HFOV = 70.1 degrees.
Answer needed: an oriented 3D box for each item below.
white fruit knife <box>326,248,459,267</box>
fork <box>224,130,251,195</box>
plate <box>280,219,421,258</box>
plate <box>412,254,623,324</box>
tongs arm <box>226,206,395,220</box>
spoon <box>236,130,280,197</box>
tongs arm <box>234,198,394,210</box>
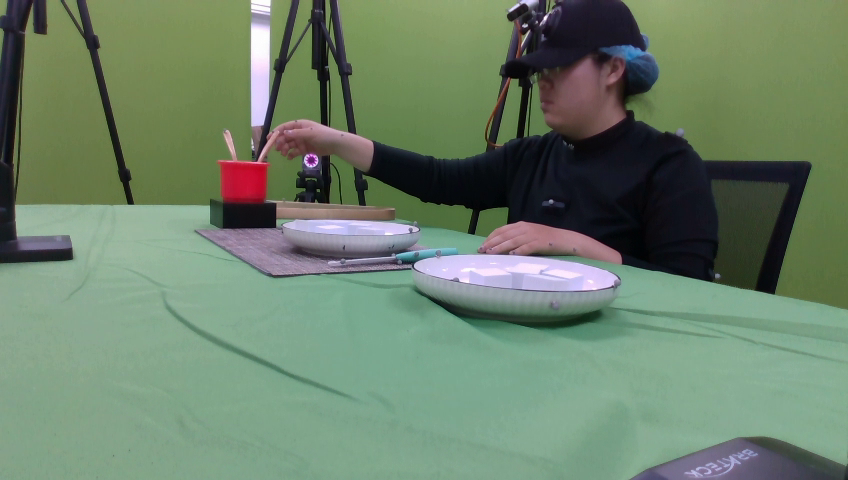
[{"bbox_3d":[-0.034,0.025,0.807,0.208,0.016,0.027,-4,-19,-34],"label":"white fruit knife"},{"bbox_3d":[-0.372,-0.155,1.193,0.028,0.018,0.206,-17,54,-14],"label":"fork"},{"bbox_3d":[-0.108,-0.002,0.902,0.208,0.039,0.207,3,7,0],"label":"plate"},{"bbox_3d":[0.091,0.047,0.609,0.209,0.038,0.209,2,7,0],"label":"plate"},{"bbox_3d":[-0.247,-0.061,1.382,0.389,0.028,0.028,0,6,-21],"label":"tongs arm"},{"bbox_3d":[-0.321,-0.154,1.192,0.041,0.193,0.022,1,-36,19],"label":"spoon"},{"bbox_3d":[-0.263,-0.076,1.460,0.386,0.026,0.050,3,8,-8],"label":"tongs arm"}]
